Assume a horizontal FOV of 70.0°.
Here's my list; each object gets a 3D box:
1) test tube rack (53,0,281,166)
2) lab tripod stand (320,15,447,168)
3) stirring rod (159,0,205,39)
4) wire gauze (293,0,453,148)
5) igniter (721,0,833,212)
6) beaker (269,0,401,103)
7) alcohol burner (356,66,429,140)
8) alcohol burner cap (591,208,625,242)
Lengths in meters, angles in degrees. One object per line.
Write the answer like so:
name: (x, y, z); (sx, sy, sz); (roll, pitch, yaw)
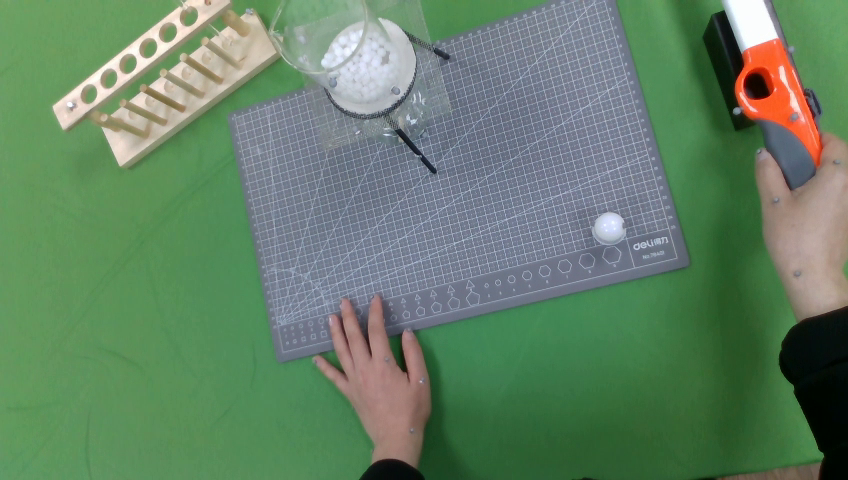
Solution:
test tube rack: (-0.294, -0.186, 0.698); (0.242, 0.085, 0.066); (-32, 79, 10)
lab tripod stand: (-0.032, -0.149, 0.600); (0.148, 0.132, 0.148); (-1, 87, 13)
stirring rod: (-0.273, -0.253, 0.616); (0.006, 0.177, 0.014); (-30, 73, 5)
wire gauze: (-0.049, -0.154, 0.536); (0.125, 0.011, 0.121); (-15, 86, 11)
igniter: (0.290, -0.159, 0.520); (0.057, 0.025, 0.275); (-17, 79, 17)
beaker: (-0.066, -0.157, 0.491); (0.084, 0.100, 0.074); (-1, 86, 15)
alcohol burner: (-0.036, -0.143, 0.610); (0.078, 0.119, 0.077); (-1, 85, 13)
alcohol burner cap: (0.179, -0.016, 0.584); (0.034, 0.048, 0.034); (-1, 85, 14)
